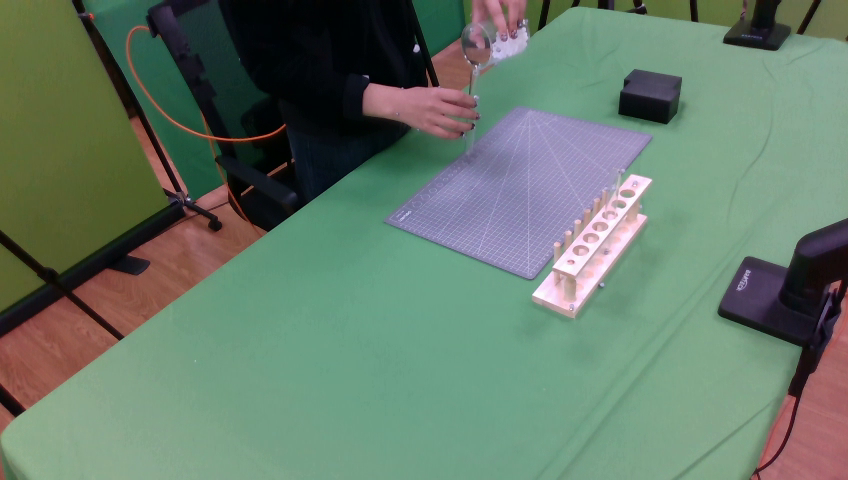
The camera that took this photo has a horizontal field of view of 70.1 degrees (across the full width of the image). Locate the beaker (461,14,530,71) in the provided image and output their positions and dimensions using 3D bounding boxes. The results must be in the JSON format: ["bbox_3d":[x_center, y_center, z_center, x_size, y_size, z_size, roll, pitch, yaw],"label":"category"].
[{"bbox_3d":[0.124,-0.336,1.025,0.101,0.084,0.073,-27,49,-30],"label":"beaker"}]

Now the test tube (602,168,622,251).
[{"bbox_3d":[0.264,-0.039,0.853,0.017,0.151,0.017,-5,44,6],"label":"test tube"}]

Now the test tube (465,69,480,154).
[{"bbox_3d":[0.084,-0.222,1.058,0.017,0.151,0.017,3,25,-1],"label":"test tube"}]

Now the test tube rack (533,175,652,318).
[{"bbox_3d":[0.251,-0.001,0.889,0.066,0.085,0.243,22,49,33],"label":"test tube rack"}]
